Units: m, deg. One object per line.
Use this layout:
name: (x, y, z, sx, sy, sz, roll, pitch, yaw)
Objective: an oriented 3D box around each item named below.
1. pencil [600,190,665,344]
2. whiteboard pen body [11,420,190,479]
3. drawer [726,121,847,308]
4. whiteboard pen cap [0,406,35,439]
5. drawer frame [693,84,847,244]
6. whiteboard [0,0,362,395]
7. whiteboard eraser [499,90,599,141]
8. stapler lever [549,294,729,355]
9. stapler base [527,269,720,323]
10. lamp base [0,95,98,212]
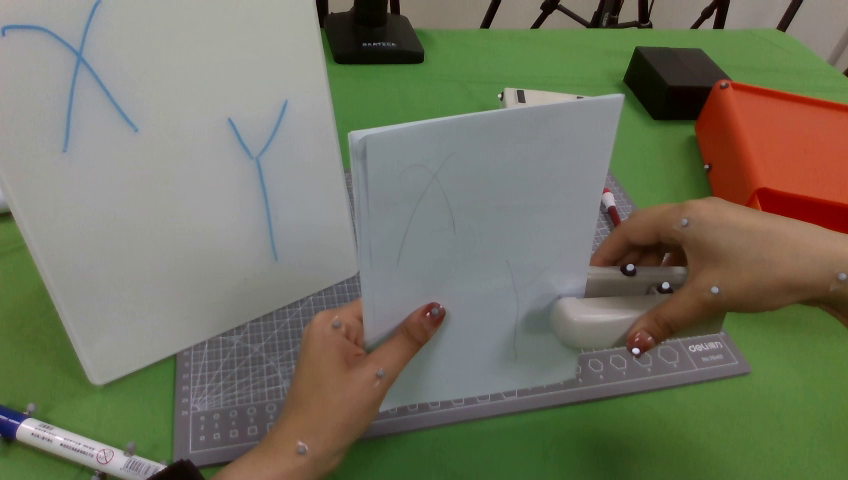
pencil: (0.198, 0.019, 0.579, 0.012, 0.012, 0.192, 2, 46, -8)
whiteboard pen body: (-0.214, 0.134, 0.381, 0.140, 0.017, 0.017, 16, 44, 7)
drawer: (0.411, -0.028, 0.619, 0.194, 0.074, 0.210, 11, 43, 2)
whiteboard pen cap: (-0.269, 0.117, 0.389, 0.033, 0.018, 0.018, 16, 44, 9)
drawer frame: (0.420, -0.071, 0.663, 0.202, 0.083, 0.211, 10, 43, 1)
whiteboard: (-0.192, -0.086, 0.447, 0.217, 0.308, 0.142, -23, 33, -29)
whiteboard eraser: (0.147, -0.147, 0.722, 0.113, 0.042, 0.055, 6, 45, -4)
stapler lever: (0.140, 0.054, 0.389, 0.118, 0.027, 0.040, 1, 33, -3)
stapler base: (0.137, 0.043, 0.408, 0.131, 0.041, 0.024, -1, 34, -5)
lamp base: (-0.394, -0.139, 0.512, 0.178, 0.182, 0.160, 23, 45, 17)
